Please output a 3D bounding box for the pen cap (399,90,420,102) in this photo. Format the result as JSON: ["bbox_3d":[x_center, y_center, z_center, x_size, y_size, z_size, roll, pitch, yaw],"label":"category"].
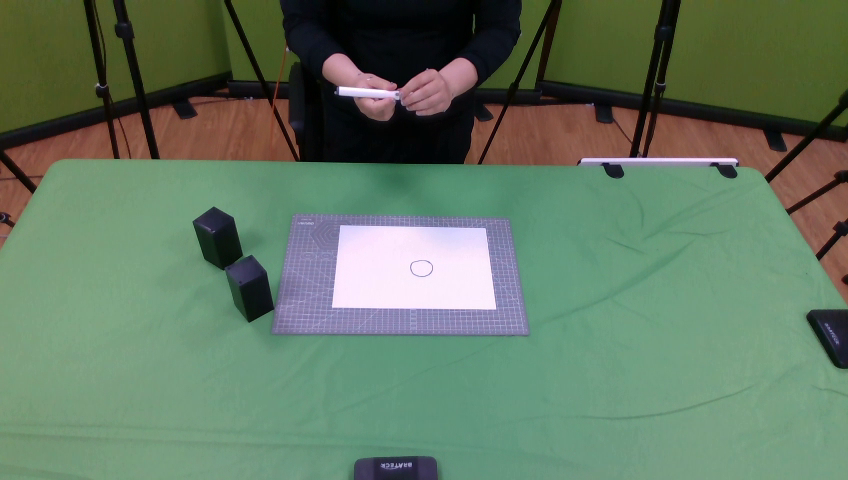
[{"bbox_3d":[-0.027,-0.266,1.115,0.038,0.017,0.017,-11,46,1],"label":"pen cap"}]

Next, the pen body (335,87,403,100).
[{"bbox_3d":[-0.089,-0.268,1.104,0.144,0.017,0.017,1,45,-11],"label":"pen body"}]
